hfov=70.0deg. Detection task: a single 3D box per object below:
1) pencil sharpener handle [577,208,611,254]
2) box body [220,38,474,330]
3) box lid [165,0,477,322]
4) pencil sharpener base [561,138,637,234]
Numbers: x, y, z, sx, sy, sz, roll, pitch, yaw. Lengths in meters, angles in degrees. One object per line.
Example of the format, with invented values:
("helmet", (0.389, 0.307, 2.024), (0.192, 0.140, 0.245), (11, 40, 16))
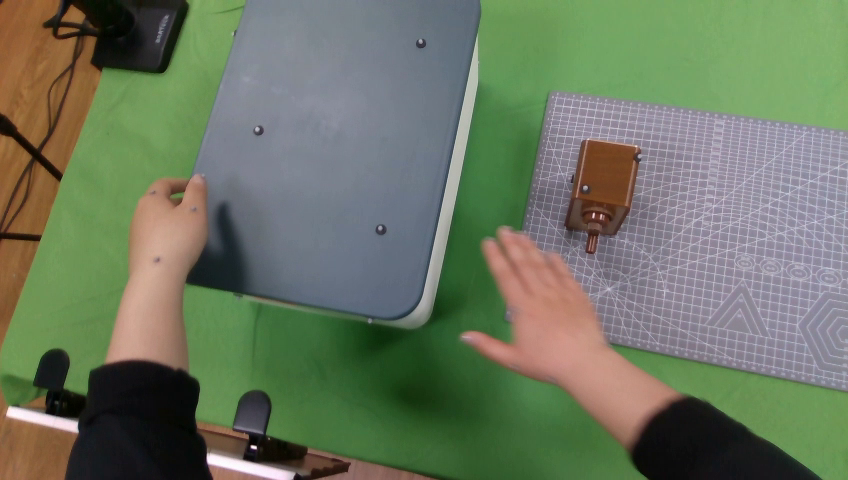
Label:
("pencil sharpener handle", (0.179, -0.008, 0.646), (0.036, 0.068, 0.030), (9, 76, 19))
("box body", (-0.091, -0.092, 0.692), (0.253, 0.161, 0.362), (9, 76, 10))
("box lid", (-0.100, -0.115, 0.622), (0.263, 0.015, 0.369), (9, 76, 9))
("pencil sharpener base", (0.190, -0.054, 0.669), (0.061, 0.108, 0.076), (11, 77, 10))
